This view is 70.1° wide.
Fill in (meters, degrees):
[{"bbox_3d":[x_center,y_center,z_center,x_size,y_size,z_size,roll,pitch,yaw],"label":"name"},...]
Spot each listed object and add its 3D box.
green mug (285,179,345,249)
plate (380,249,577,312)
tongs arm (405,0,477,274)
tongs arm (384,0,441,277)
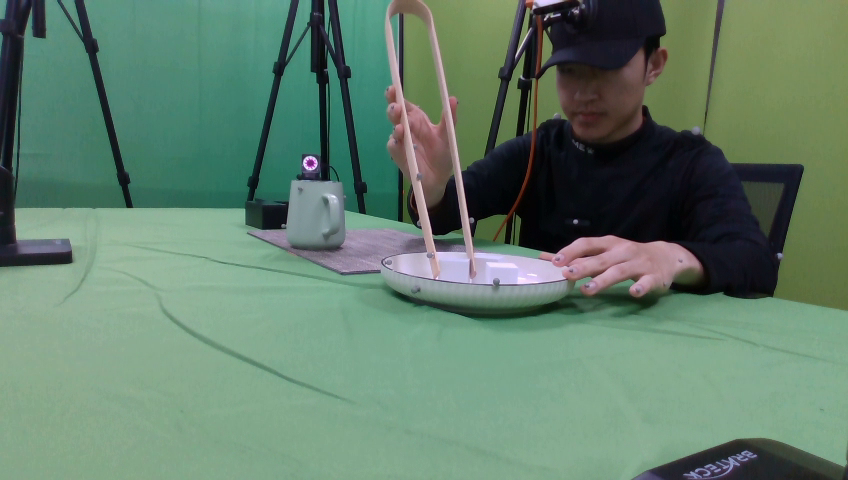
[{"bbox_3d":[-0.161,-0.040,0.937,0.093,0.105,0.124,-2,8,-32],"label":"green mug"},{"bbox_3d":[0.056,0.042,0.646,0.209,0.038,0.209,2,7,0],"label":"plate"},{"bbox_3d":[0.020,-0.141,0.729,0.028,0.386,0.028,-7,-23,-7],"label":"tongs arm"},{"bbox_3d":[-0.006,-0.139,0.723,0.051,0.383,0.026,-9,-23,-11],"label":"tongs arm"}]
